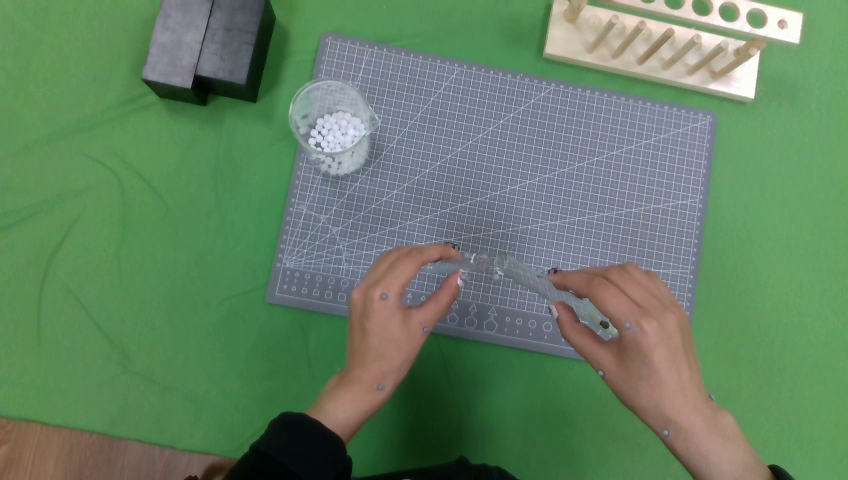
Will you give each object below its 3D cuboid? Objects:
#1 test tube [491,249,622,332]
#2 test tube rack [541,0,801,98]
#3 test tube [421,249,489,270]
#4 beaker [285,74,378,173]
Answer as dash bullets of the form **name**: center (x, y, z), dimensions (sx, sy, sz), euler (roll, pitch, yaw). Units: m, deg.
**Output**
- **test tube**: center (0.111, 0.044, 0.488), dimensions (0.152, 0.017, 0.017), euler (28, 81, -31)
- **test tube rack**: center (0.258, -0.222, 0.649), dimensions (0.242, 0.085, 0.066), euler (11, 83, -3)
- **test tube**: center (0.024, 0.019, 0.541), dimensions (0.017, 0.150, 0.017), euler (1, 86, -16)
- **beaker**: center (-0.088, -0.110, 0.601), dimensions (0.084, 0.100, 0.074), euler (3, 83, -4)
